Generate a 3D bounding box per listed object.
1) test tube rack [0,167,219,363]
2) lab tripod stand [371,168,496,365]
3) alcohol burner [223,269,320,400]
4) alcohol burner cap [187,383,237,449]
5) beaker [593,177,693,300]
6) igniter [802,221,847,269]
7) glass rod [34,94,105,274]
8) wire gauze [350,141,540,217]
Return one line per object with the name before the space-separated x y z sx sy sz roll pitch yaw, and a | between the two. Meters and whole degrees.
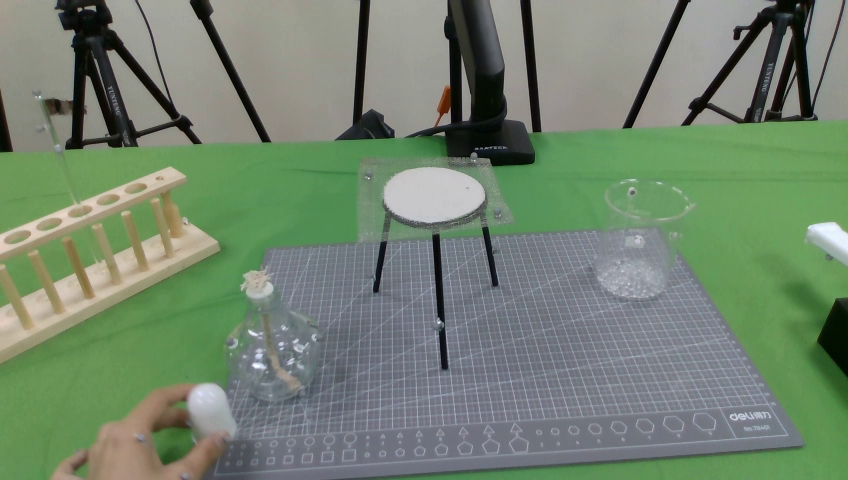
test tube rack | -0.336 0.018 0.602 0.066 0.086 0.242 27 45 34
lab tripod stand | 0.012 0.016 0.543 0.148 0.132 0.147 0 37 0
alcohol burner | -0.125 0.071 0.487 0.078 0.120 0.077 0 35 0
alcohol burner cap | -0.159 0.127 0.447 0.034 0.048 0.033 1 32 0
beaker | 0.206 0.001 0.584 0.084 0.101 0.073 1 36 4
igniter | 0.409 0.059 0.478 0.057 0.025 0.273 -8 32 -8
glass rod | -0.333 -0.043 0.573 0.008 0.201 0.008 2 38 -1
wire gauze | 0.013 -0.050 0.491 0.125 0.011 0.120 -9 32 -23
